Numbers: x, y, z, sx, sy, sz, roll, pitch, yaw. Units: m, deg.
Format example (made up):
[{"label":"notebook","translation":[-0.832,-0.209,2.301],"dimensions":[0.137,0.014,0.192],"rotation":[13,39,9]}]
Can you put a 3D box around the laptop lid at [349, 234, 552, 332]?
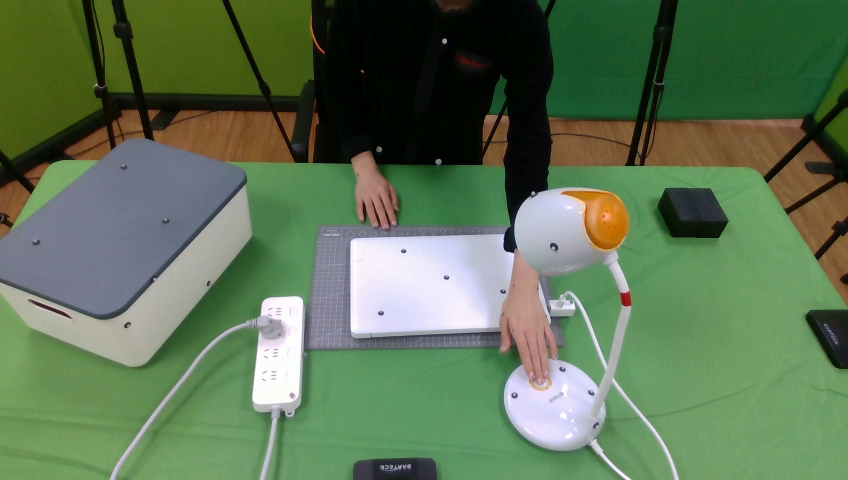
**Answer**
[{"label":"laptop lid","translation":[0.040,0.072,1.118],"dimensions":[0.357,0.013,0.240],"rotation":[0,44,-5]}]

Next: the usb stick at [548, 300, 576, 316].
[{"label":"usb stick","translation":[0.239,0.122,1.083],"dimensions":[0.059,0.027,0.021],"rotation":[-2,51,-2]}]

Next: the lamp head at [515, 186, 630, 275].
[{"label":"lamp head","translation":[0.188,-0.013,0.728],"dimensions":[0.112,0.112,0.122],"rotation":[-25,9,-25]}]

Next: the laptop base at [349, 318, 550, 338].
[{"label":"laptop base","translation":[0.039,0.082,1.125],"dimensions":[0.355,0.023,0.234],"rotation":[-2,43,-6]}]

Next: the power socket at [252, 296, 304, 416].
[{"label":"power socket","translation":[-0.238,0.182,0.997],"dimensions":[0.072,0.033,0.225],"rotation":[-3,47,-5]}]

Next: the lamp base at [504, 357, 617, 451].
[{"label":"lamp base","translation":[0.220,0.211,0.903],"dimensions":[0.160,0.181,0.178],"rotation":[-32,59,-30]}]

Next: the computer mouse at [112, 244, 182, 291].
[{"label":"computer mouse","translation":[-0.493,0.046,1.078],"dimensions":[0.117,0.041,0.062],"rotation":[24,42,13]}]

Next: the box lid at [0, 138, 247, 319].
[{"label":"box lid","translation":[-0.494,-0.037,0.994],"dimensions":[0.263,0.015,0.370],"rotation":[17,46,12]}]

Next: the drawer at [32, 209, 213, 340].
[{"label":"drawer","translation":[-0.509,0.054,1.045],"dimensions":[0.194,0.073,0.211],"rotation":[15,43,10]}]

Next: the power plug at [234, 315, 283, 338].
[{"label":"power plug","translation":[-0.269,0.143,1.000],"dimensions":[0.072,0.053,0.035],"rotation":[5,46,2]}]

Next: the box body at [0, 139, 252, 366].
[{"label":"box body","translation":[-0.496,0.013,1.048],"dimensions":[0.254,0.161,0.362],"rotation":[17,47,12]}]

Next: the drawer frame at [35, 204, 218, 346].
[{"label":"drawer frame","translation":[-0.505,0.054,1.052],"dimensions":[0.201,0.083,0.212],"rotation":[14,52,12]}]
